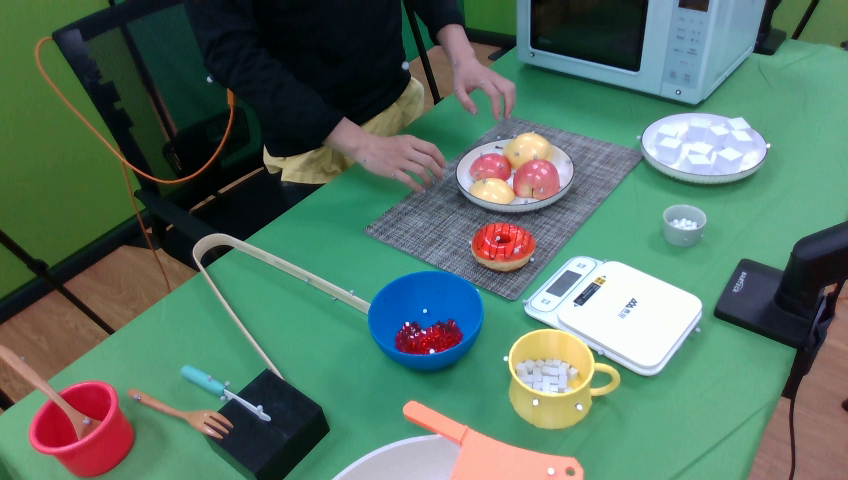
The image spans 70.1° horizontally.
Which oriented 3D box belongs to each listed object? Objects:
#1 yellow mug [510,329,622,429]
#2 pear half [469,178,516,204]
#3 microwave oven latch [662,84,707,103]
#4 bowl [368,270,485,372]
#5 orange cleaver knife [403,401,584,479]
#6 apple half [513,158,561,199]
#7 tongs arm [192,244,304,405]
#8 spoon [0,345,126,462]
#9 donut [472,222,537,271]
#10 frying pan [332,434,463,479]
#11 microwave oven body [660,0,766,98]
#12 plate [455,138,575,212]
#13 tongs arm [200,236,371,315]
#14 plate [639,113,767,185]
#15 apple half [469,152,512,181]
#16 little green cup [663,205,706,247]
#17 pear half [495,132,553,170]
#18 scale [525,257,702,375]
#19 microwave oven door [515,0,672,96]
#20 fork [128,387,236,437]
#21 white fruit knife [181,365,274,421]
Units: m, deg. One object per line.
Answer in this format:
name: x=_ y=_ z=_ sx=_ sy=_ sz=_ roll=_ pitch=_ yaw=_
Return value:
yellow mug: x=0.168 y=0.164 z=0.721 sx=0.130 sy=0.064 sz=0.099 roll=0 pitch=40 yaw=8
pear half: x=0.115 y=-0.090 z=1.035 sx=0.087 sy=0.031 sz=0.071 roll=27 pitch=37 yaw=32
microwave oven latch: x=0.517 y=-0.296 z=1.204 sx=0.078 sy=0.029 sz=0.030 roll=27 pitch=52 yaw=35
bowl: x=0.007 y=0.118 z=0.791 sx=0.151 sy=0.077 sz=0.150 roll=-5 pitch=40 yaw=4
orange cleaver knife: x=0.062 y=0.222 z=0.609 sx=0.210 sy=0.012 sz=0.077 roll=15 pitch=49 yaw=25
apple half: x=0.194 y=-0.111 z=1.031 sx=0.080 sy=0.053 sz=0.075 roll=12 pitch=41 yaw=26
tongs arm: x=-0.268 y=0.111 z=0.884 sx=0.028 sy=0.028 sz=0.384 roll=-36 pitch=47 yaw=-18
spoon: x=-0.434 y=0.192 z=0.720 sx=0.194 sy=0.021 sz=0.042 roll=47 pitch=53 yaw=-7
donut: x=0.123 y=0.008 z=0.923 sx=0.099 sy=0.048 sz=0.098 roll=-3 pitch=38 yaw=3
frying pan: x=-0.089 y=0.306 z=0.564 sx=0.487 sy=0.103 sz=0.306 roll=10 pitch=41 yaw=7
microwave oven body: x=0.472 y=-0.513 z=1.317 sx=0.438 sy=0.261 sz=0.327 roll=26 pitch=51 yaw=34
plate: x=0.159 y=-0.111 z=1.063 sx=0.209 sy=0.038 sz=0.208 roll=-4 pitch=40 yaw=4
tongs arm: x=-0.209 y=0.062 z=0.924 sx=0.381 sy=0.027 sz=0.051 roll=23 pitch=54 yaw=32
plate: x=0.489 y=-0.157 z=1.074 sx=0.207 sy=0.039 sz=0.206 roll=-4 pitch=40 yaw=4
apple half: x=0.120 y=-0.139 z=1.088 sx=0.081 sy=0.033 sz=0.081 roll=0 pitch=44 yaw=0
little green cup: x=0.396 y=-0.020 z=0.926 sx=0.061 sy=0.039 sz=0.061 roll=-4 pitch=40 yaw=4
pear half: x=0.175 y=-0.168 z=1.094 sx=0.109 sy=0.056 sz=0.076 roll=16 pitch=55 yaw=29
scale: x=0.254 y=0.091 z=0.821 sx=0.199 sy=0.032 sz=0.149 roll=28 pitch=51 yaw=35
microwave oven door: x=0.343 y=-0.454 z=1.259 sx=0.353 sy=0.245 sz=0.039 roll=26 pitch=51 yaw=33
fork: x=-0.305 y=0.207 z=0.744 sx=0.206 sy=0.019 sz=0.028 roll=3 pitch=40 yaw=36
white fruit knife: x=-0.245 y=0.187 z=0.747 sx=0.205 sy=0.027 sz=0.016 roll=9 pitch=41 yaw=41
